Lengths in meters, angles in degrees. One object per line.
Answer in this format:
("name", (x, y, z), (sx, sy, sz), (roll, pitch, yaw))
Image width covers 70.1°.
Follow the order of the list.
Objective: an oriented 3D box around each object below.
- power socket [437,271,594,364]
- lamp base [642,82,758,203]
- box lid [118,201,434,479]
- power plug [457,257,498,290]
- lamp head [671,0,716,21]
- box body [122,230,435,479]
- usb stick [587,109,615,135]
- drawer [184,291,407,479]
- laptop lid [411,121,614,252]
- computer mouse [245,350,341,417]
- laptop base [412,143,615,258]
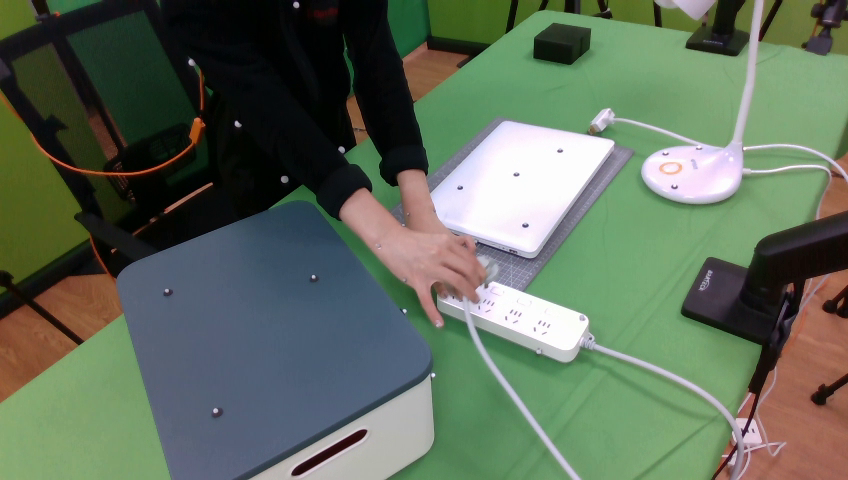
("power socket", (0.118, 0.102, 0.830), (0.225, 0.033, 0.072), (20, 48, 28))
("lamp base", (0.464, -0.174, 0.992), (0.179, 0.181, 0.159), (-5, 41, -1))
("box lid", (-0.182, 0.087, 0.675), (0.264, 0.015, 0.368), (-25, 42, -20))
("power plug", (0.061, 0.049, 0.758), (0.073, 0.053, 0.035), (-31, 47, -24))
("lamp head", (0.375, -0.373, 0.807), (0.122, 0.113, 0.112), (-40, 27, 32))
("box body", (-0.175, 0.142, 0.725), (0.255, 0.161, 0.360), (-25, 43, -20))
("usb stick", (0.344, -0.229, 1.184), (0.059, 0.021, 0.027), (-47, 21, -8))
("drawer", (-0.155, 0.180, 0.720), (0.195, 0.073, 0.210), (-27, 40, -21))
("laptop lid", (0.164, -0.112, 1.068), (0.240, 0.013, 0.357), (19, 46, 31))
("computer mouse", (-0.164, 0.173, 0.754), (0.118, 0.041, 0.062), (-18, 33, -18))
("laptop base", (0.167, -0.102, 1.074), (0.234, 0.023, 0.355), (16, 45, 30))
